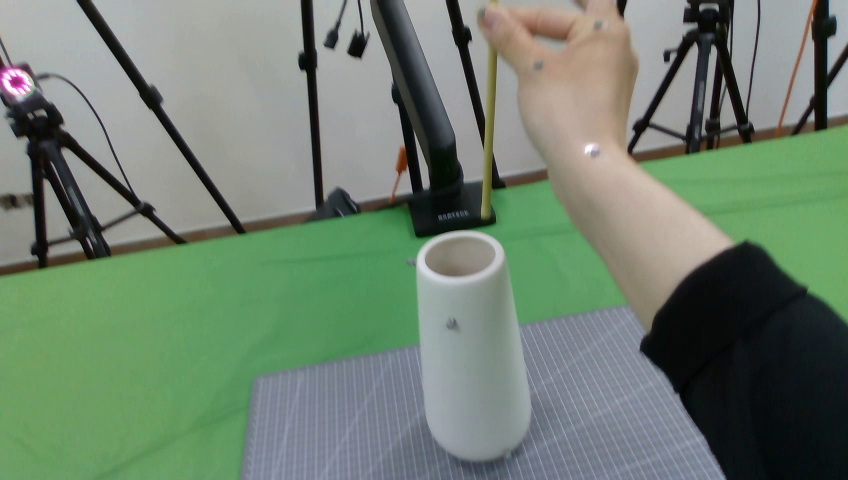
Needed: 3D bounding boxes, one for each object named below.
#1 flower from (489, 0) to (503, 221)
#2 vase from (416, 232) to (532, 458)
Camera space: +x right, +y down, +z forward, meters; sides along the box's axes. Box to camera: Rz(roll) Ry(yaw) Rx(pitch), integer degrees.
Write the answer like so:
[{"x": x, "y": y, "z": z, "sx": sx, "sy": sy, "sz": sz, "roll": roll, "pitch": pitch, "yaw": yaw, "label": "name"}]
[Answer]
[{"x": 0.047, "y": -0.185, "z": 0.376, "sx": 0.038, "sy": 0.363, "sz": 0.043, "roll": -5, "pitch": 20, "yaw": -12, "label": "flower"}, {"x": 0.040, "y": 0.093, "z": 0.520, "sx": 0.098, "sy": 0.202, "sz": 0.097, "roll": -6, "pitch": 32, "yaw": 4, "label": "vase"}]
